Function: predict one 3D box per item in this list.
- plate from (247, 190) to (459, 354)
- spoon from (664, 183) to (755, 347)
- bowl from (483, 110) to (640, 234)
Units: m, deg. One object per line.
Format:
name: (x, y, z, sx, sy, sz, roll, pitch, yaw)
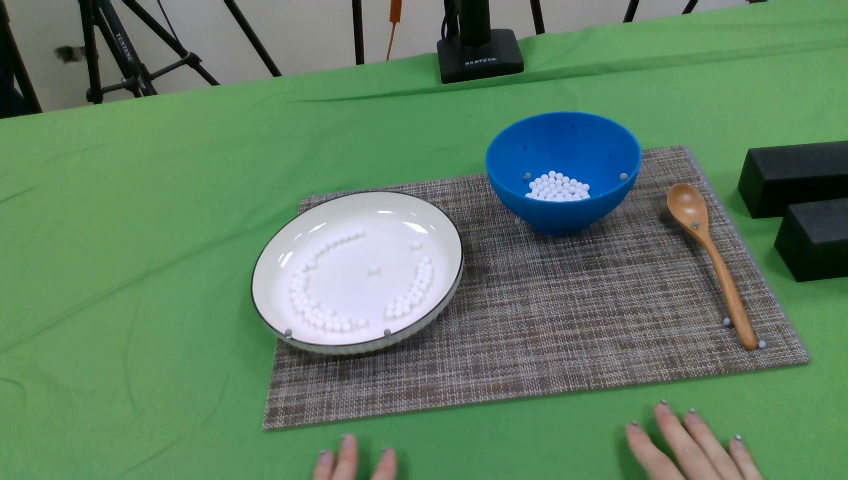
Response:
plate: (-0.067, 0.031, 0.598, 0.207, 0.039, 0.205, -5, 44, 6)
spoon: (0.263, 0.016, 0.559, 0.042, 0.022, 0.191, 7, 43, -8)
bowl: (0.138, -0.059, 0.620, 0.151, 0.077, 0.150, -5, 44, 5)
